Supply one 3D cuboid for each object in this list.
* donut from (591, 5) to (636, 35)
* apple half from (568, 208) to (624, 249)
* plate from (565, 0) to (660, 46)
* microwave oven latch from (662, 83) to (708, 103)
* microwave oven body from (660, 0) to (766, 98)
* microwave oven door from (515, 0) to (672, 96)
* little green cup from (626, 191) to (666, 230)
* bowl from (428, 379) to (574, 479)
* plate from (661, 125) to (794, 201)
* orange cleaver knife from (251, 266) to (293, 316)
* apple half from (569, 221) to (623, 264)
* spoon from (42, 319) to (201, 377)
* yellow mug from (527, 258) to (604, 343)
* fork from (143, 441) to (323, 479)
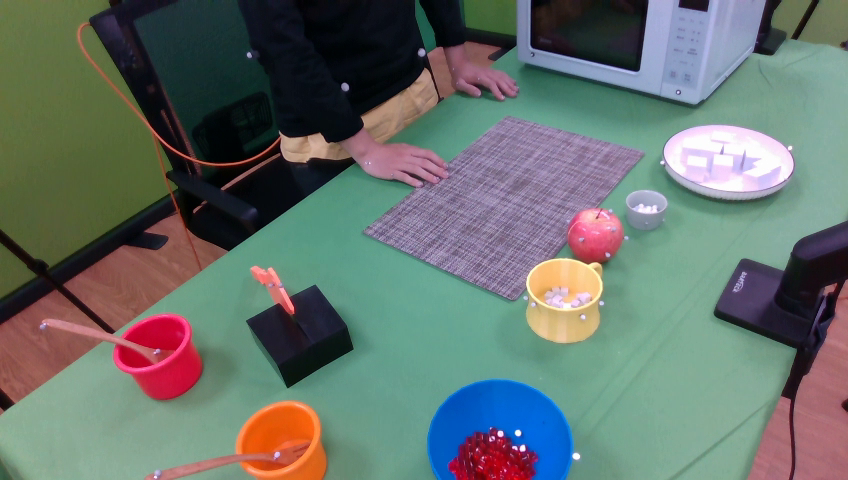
[{"bbox_3d":[0.427,-0.498,1.364,0.099,0.048,0.098,-5,39,4],"label":"donut"},{"bbox_3d":[0.259,-0.014,0.914,0.080,0.075,0.053,0,36,15],"label":"apple half"},{"bbox_3d":[0.427,-0.490,1.376,0.209,0.038,0.208,-5,40,5],"label":"plate"},{"bbox_3d":[0.517,-0.296,1.204,0.078,0.029,0.030,27,52,35],"label":"microwave oven latch"},{"bbox_3d":[0.472,-0.513,1.317,0.438,0.261,0.327,26,51,34],"label":"microwave oven body"},{"bbox_3d":[0.343,-0.454,1.259,0.353,0.245,0.039,26,51,33],"label":"microwave oven door"},{"bbox_3d":[0.352,-0.046,0.963,0.061,0.039,0.061,-4,40,4],"label":"little green cup"},{"bbox_3d":[0.082,0.233,0.644,0.151,0.077,0.150,-4,40,4],"label":"bowl"},{"bbox_3d":[0.513,-0.128,1.035,0.207,0.039,0.206,-4,40,4],"label":"plate"},{"bbox_3d":[-0.221,0.071,0.873,0.012,0.077,0.210,-25,11,-21],"label":"orange cleaver knife"},{"bbox_3d":[0.251,0.010,0.884,0.081,0.081,0.032,3,37,12],"label":"apple half"},{"bbox_3d":[-0.385,0.135,0.779,0.195,0.021,0.041,28,37,-26],"label":"spoon"},{"bbox_3d":[0.201,0.073,0.825,0.131,0.064,0.099,-32,46,-27],"label":"yellow mug"},{"bbox_3d":[-0.189,0.231,0.631,0.028,0.018,0.209,35,13,37],"label":"fork"}]
